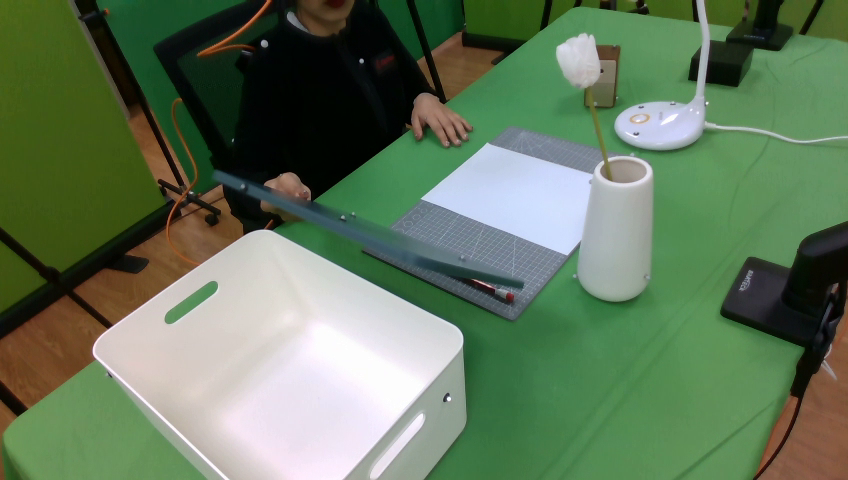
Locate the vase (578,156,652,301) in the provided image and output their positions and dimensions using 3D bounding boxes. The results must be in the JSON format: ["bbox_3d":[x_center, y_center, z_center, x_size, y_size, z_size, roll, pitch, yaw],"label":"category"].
[{"bbox_3d":[0.261,-0.011,0.812,0.098,0.201,0.097,-4,40,4],"label":"vase"}]

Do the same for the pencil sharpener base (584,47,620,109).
[{"bbox_3d":[0.367,-0.336,1.248,0.061,0.107,0.076,6,42,19],"label":"pencil sharpener base"}]

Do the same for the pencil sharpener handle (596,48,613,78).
[{"bbox_3d":[0.383,-0.378,1.276,0.036,0.068,0.030,2,41,22],"label":"pencil sharpener handle"}]

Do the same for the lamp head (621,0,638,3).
[{"bbox_3d":[0.319,-0.453,0.962,0.113,0.123,0.112,20,33,-13],"label":"lamp head"}]

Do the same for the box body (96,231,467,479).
[{"bbox_3d":[-0.155,0.169,0.707,0.361,0.161,0.255,23,49,33],"label":"box body"}]

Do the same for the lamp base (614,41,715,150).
[{"bbox_3d":[0.449,-0.277,1.106,0.179,0.181,0.160,1,41,9],"label":"lamp base"}]

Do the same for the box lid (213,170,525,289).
[{"bbox_3d":[-0.072,-0.013,0.784,0.368,0.265,0.015,21,92,34],"label":"box lid"}]

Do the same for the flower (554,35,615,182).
[{"bbox_3d":[0.237,-0.083,0.774,0.044,0.363,0.038,-22,26,7],"label":"flower"}]

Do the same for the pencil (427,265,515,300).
[{"bbox_3d":[0.053,0.054,0.918,0.192,0.012,0.012,20,48,32],"label":"pencil"}]
